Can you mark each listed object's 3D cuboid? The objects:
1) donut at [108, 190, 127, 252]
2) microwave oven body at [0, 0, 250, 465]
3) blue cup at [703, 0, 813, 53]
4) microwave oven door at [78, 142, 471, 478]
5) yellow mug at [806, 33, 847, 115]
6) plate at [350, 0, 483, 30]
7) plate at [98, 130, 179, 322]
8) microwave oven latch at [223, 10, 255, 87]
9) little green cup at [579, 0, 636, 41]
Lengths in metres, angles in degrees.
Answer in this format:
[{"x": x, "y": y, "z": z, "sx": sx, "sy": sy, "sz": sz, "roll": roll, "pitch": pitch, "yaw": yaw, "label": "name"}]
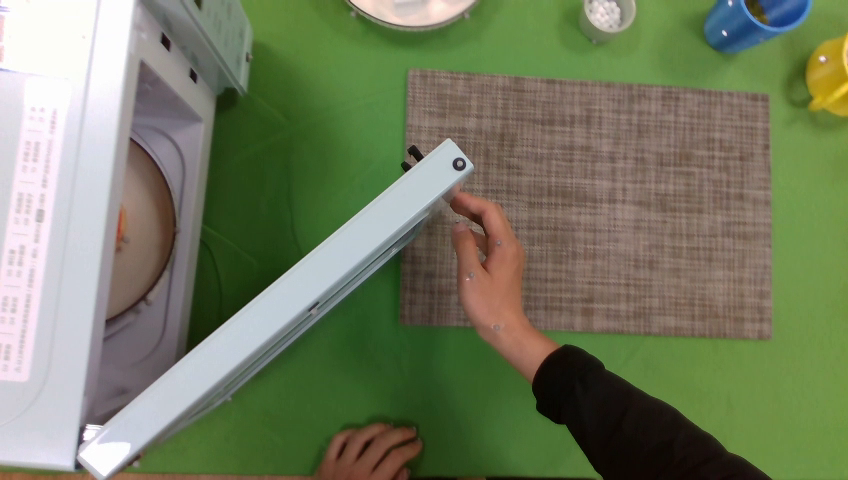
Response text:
[{"x": -0.343, "y": -0.023, "z": 0.592, "sx": 0.099, "sy": 0.048, "sz": 0.099, "roll": 0, "pitch": 89, "yaw": 0, "label": "donut"}, {"x": -0.365, "y": -0.061, "z": 0.551, "sx": 0.326, "sy": 0.260, "sz": 0.440, "roll": 6, "pitch": 86, "yaw": -4, "label": "microwave oven body"}, {"x": 0.381, "y": -0.266, "z": 0.710, "sx": 0.093, "sy": 0.100, "sz": 0.092, "roll": 0, "pitch": 87, "yaw": -5, "label": "blue cup"}, {"x": -0.112, "y": 0.055, "z": 0.558, "sx": 0.355, "sy": 0.244, "sz": 0.039, "roll": -41, "pitch": 88, "yaw": -6, "label": "microwave oven door"}, {"x": 0.520, "y": -0.199, "z": 0.734, "sx": 0.131, "sy": 0.064, "sz": 0.100, "roll": -39, "pitch": 90, "yaw": -5, "label": "yellow mug"}, {"x": -0.011, "y": -0.344, "z": 0.715, "sx": 0.208, "sy": 0.039, "sz": 0.207, "roll": 0, "pitch": 86, "yaw": -5, "label": "plate"}, {"x": -0.348, "y": -0.018, "z": 0.599, "sx": 0.209, "sy": 0.038, "sz": 0.208, "roll": 0, "pitch": 87, "yaw": -6, "label": "plate"}, {"x": -0.208, "y": -0.213, "z": 0.671, "sx": 0.030, "sy": 0.029, "sz": 0.079, "roll": 10, "pitch": 86, "yaw": -4, "label": "microwave oven latch"}, {"x": 0.218, "y": -0.271, "z": 0.729, "sx": 0.061, "sy": 0.038, "sz": 0.061, "roll": 0, "pitch": 85, "yaw": -4, "label": "little green cup"}]
